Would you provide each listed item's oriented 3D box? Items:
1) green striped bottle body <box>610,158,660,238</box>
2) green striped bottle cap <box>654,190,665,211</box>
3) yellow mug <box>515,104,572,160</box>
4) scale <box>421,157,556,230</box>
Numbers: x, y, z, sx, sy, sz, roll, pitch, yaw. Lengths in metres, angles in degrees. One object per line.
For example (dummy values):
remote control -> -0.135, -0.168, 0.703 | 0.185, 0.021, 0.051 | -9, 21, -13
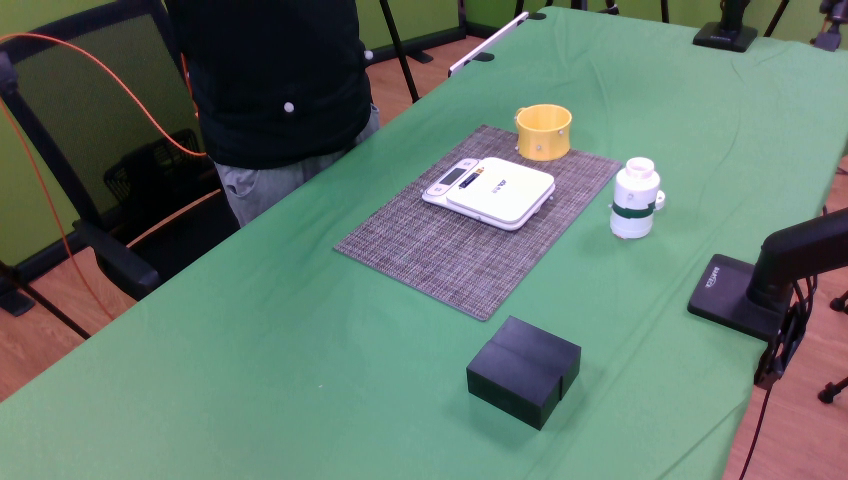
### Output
green striped bottle body -> 0.323, -0.066, 0.924 | 0.063, 0.120, 0.063 | -4, 41, 4
green striped bottle cap -> 0.375, -0.066, 0.998 | 0.044, 0.020, 0.044 | -8, 37, 7
yellow mug -> 0.216, -0.211, 1.143 | 0.100, 0.064, 0.129 | -27, 44, -22
scale -> 0.110, -0.089, 1.042 | 0.199, 0.032, 0.149 | 23, 48, 31
